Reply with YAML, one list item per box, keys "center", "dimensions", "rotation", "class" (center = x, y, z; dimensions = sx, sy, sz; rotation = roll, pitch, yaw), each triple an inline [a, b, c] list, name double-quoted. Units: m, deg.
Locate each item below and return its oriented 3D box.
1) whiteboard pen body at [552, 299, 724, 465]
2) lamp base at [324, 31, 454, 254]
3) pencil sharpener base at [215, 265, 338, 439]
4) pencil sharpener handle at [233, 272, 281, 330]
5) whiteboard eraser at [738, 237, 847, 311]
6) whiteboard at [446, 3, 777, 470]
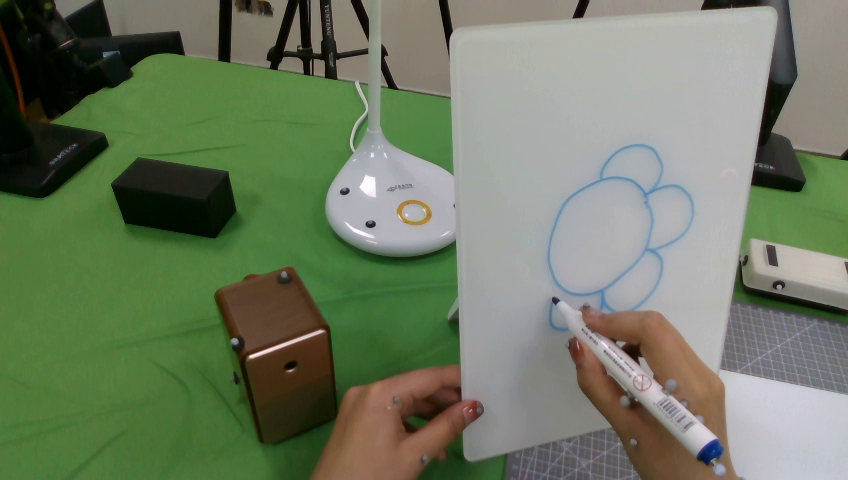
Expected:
- center: [0.118, 0.076, 0.360]
  dimensions: [0.017, 0.017, 0.139]
  rotation: [-17, 38, -21]
  class: "whiteboard pen body"
- center: [-0.031, -0.105, 0.616]
  dimensions: [0.161, 0.182, 0.177]
  rotation: [-22, 45, -27]
  class: "lamp base"
- center: [-0.109, 0.083, 0.450]
  dimensions: [0.061, 0.108, 0.076]
  rotation: [-19, 46, -23]
  class: "pencil sharpener base"
- center: [-0.131, 0.043, 0.475]
  dimensions: [0.036, 0.068, 0.030]
  rotation: [-25, 48, -17]
  class: "pencil sharpener handle"
- center: [0.368, 0.035, 0.590]
  dimensions: [0.112, 0.042, 0.055]
  rotation: [12, 41, 11]
  class: "whiteboard eraser"
- center: [0.109, -0.014, 0.468]
  dimensions: [0.218, 0.307, 0.142]
  rotation: [-9, 23, -12]
  class: "whiteboard"
